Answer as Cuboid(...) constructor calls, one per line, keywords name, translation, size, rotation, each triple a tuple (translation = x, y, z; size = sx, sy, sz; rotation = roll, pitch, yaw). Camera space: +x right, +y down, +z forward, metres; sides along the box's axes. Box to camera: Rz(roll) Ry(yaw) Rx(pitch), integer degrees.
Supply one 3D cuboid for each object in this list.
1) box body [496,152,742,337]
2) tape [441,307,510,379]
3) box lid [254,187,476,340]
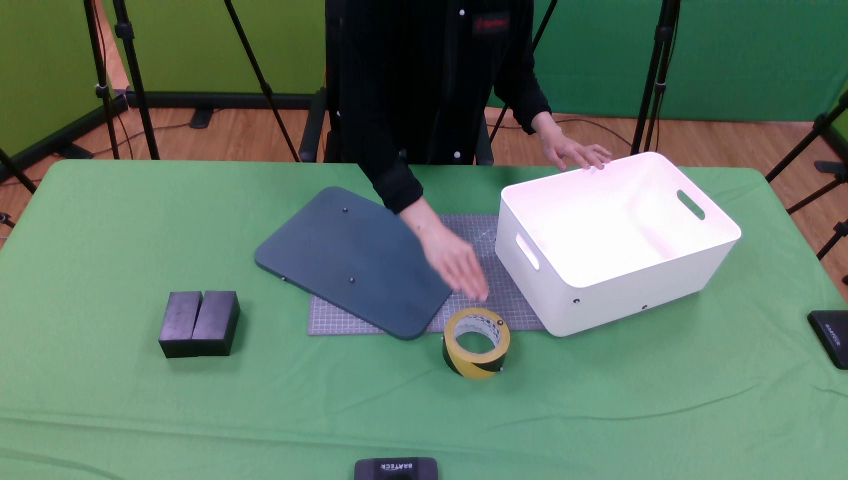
Cuboid(name="box body", translation=(0.340, 0.004, 1.118), size=(0.364, 0.161, 0.252), rotation=(-15, 49, -18))
Cuboid(name="tape", translation=(0.087, 0.172, 1.014), size=(0.117, 0.053, 0.116), rotation=(2, 49, -2))
Cuboid(name="box lid", translation=(-0.112, 0.028, 1.168), size=(0.370, 0.015, 0.262), rotation=(24, 49, 19))
